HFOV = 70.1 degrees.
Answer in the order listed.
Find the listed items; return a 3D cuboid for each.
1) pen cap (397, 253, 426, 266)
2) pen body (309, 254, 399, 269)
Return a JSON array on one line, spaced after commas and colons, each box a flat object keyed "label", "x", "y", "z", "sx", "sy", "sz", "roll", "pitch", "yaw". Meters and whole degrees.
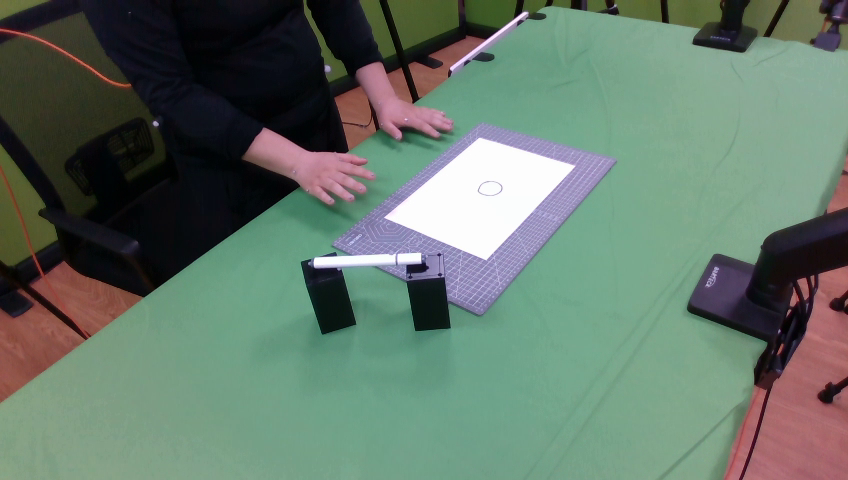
[{"label": "pen cap", "x": -0.016, "y": 0.026, "z": 0.791, "sx": 0.038, "sy": 0.017, "sz": 0.017, "roll": -3, "pitch": 40, "yaw": 3}, {"label": "pen body", "x": -0.079, "y": 0.029, "z": 0.797, "sx": 0.144, "sy": 0.017, "sz": 0.017, "roll": -3, "pitch": 40, "yaw": 5}]
